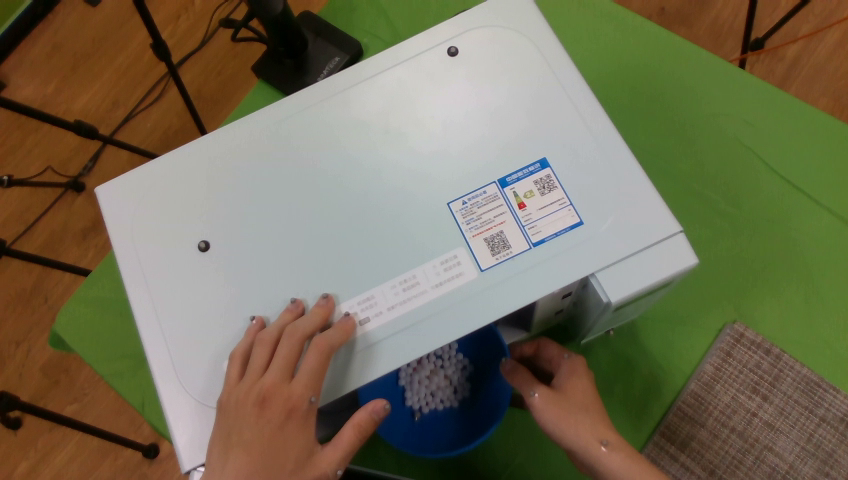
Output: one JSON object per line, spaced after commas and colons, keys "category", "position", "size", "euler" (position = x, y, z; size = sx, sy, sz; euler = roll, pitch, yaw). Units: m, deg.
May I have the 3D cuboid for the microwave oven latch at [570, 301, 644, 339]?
{"category": "microwave oven latch", "position": [0.204, 0.082, 0.677], "size": [0.079, 0.030, 0.030], "euler": [-24, 72, 0]}

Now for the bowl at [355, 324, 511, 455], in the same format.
{"category": "bowl", "position": [0.007, 0.134, 0.605], "size": [0.151, 0.077, 0.150], "euler": [0, 73, -1]}

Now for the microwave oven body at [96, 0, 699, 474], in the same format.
{"category": "microwave oven body", "position": [-0.030, 0.006, 0.627], "size": [0.442, 0.262, 0.323], "euler": [-26, 72, 0]}

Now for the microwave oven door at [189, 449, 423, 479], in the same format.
{"category": "microwave oven door", "position": [0.004, 0.248, 0.545], "size": [0.355, 0.245, 0.039], "euler": [9, 74, 10]}
